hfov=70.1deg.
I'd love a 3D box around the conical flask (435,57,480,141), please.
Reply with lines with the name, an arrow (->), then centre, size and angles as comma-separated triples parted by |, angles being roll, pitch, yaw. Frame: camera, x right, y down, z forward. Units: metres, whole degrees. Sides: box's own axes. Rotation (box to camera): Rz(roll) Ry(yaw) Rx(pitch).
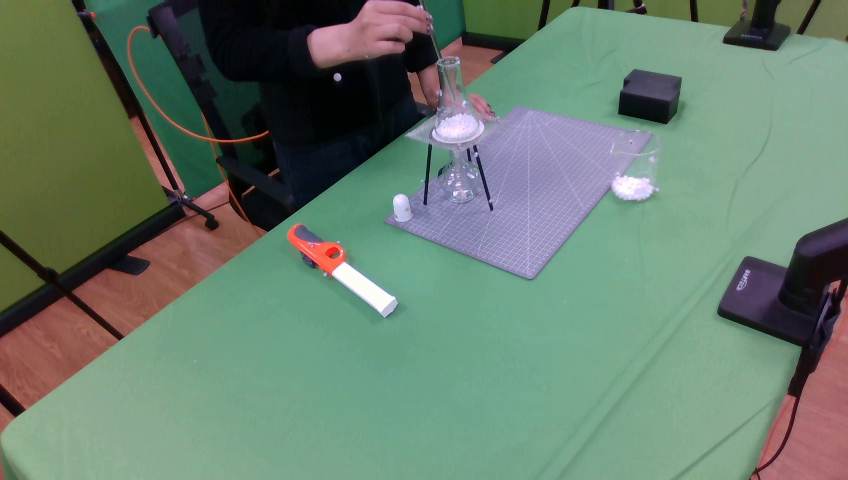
conical flask -> 0.046, -0.225, 0.955 | 0.075, 0.122, 0.075 | -7, 39, 6

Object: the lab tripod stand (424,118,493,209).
lab tripod stand -> 0.061, -0.133, 1.039 | 0.148, 0.132, 0.147 | -6, 38, 6

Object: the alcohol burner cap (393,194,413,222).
alcohol burner cap -> -0.039, -0.057, 1.038 | 0.034, 0.048, 0.033 | -6, 40, 5

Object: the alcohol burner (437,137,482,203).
alcohol burner -> 0.060, -0.125, 1.045 | 0.078, 0.119, 0.077 | -5, 38, 4

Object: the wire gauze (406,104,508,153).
wire gauze -> 0.054, -0.183, 0.997 | 0.120, 0.011, 0.125 | 26, 53, 38

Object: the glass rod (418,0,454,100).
glass rod -> 0.014, -0.296, 0.894 | 0.008, 0.201, 0.008 | -14, 38, 12

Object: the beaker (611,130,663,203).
beaker -> 0.346, -0.118, 0.998 | 0.084, 0.101, 0.073 | -17, 40, -7

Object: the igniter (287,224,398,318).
igniter -> -0.139, 0.042, 0.958 | 0.057, 0.025, 0.274 | -42, 49, -19
